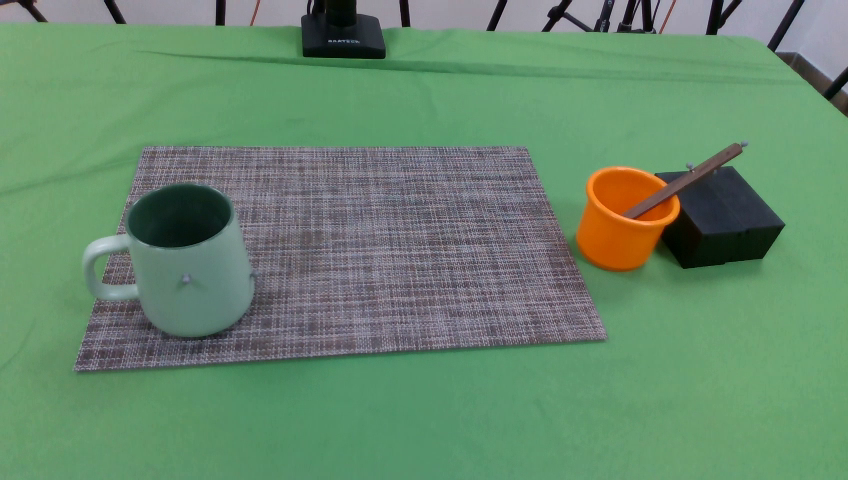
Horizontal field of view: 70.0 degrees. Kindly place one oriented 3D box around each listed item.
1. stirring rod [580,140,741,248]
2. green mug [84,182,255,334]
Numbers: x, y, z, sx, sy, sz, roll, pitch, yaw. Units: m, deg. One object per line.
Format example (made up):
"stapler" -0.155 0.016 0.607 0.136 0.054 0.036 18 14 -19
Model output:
"stirring rod" 0.233 -0.044 0.606 0.176 0.006 0.014 -35 49 18
"green mug" -0.207 0.020 0.495 0.126 0.106 0.091 -11 47 -18
